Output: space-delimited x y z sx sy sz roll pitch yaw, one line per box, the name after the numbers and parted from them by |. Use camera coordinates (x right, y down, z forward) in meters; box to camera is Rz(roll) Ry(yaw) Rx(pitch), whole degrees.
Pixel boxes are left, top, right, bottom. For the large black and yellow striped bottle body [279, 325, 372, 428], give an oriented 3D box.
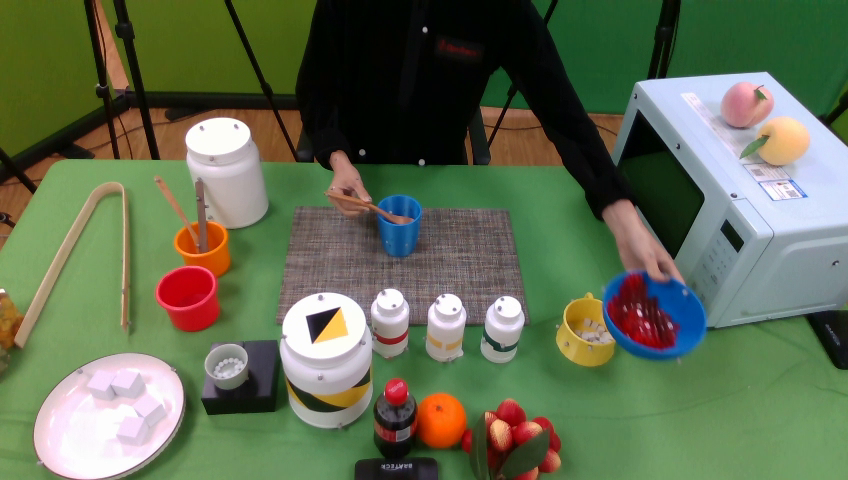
-0.143 0.181 0.900 0.131 0.185 0.130 2 46 -2 | large black and yellow striped bottle body

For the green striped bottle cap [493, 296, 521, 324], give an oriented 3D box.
0.133 0.111 0.962 0.044 0.020 0.044 2 47 -2 | green striped bottle cap

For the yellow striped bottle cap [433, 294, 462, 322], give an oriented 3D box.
0.037 0.107 0.958 0.044 0.019 0.044 2 45 -2 | yellow striped bottle cap

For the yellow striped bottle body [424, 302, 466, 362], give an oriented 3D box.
0.035 0.143 0.995 0.063 0.121 0.062 3 46 -3 | yellow striped bottle body

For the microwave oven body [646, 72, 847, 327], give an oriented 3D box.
0.607 -0.089 1.164 0.326 0.261 0.438 -7 46 -10 | microwave oven body

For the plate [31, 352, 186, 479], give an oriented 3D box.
-0.459 0.262 0.898 0.209 0.038 0.208 2 46 -2 | plate

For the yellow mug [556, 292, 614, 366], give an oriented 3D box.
0.284 0.145 1.051 0.100 0.064 0.130 8 46 3 | yellow mug

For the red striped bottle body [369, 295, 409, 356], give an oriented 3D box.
-0.059 0.134 0.997 0.063 0.120 0.062 5 48 -5 | red striped bottle body

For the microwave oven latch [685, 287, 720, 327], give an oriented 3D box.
0.494 0.119 1.087 0.030 0.029 0.078 -5 46 -9 | microwave oven latch

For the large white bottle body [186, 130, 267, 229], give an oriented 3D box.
-0.383 -0.127 1.175 0.131 0.185 0.130 2 47 -2 | large white bottle body

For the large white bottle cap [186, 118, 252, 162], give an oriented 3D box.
-0.377 -0.185 1.115 0.115 0.018 0.114 3 46 -3 | large white bottle cap

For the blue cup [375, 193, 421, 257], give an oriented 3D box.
-0.049 -0.022 1.156 0.093 0.101 0.092 1 47 -1 | blue cup

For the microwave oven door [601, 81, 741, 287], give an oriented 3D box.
0.455 -0.107 1.162 0.039 0.245 0.353 -6 47 -11 | microwave oven door

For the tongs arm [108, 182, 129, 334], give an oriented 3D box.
-0.571 0.019 1.123 0.051 0.026 0.382 -11 47 -12 | tongs arm

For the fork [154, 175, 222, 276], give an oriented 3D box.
-0.431 -0.027 1.101 0.028 0.018 0.207 -33 100 -25 | fork

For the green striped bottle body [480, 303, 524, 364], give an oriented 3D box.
0.129 0.147 1.000 0.063 0.120 0.063 2 46 -2 | green striped bottle body

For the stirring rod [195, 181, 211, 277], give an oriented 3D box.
-0.403 -0.020 1.104 0.014 0.006 0.176 -6 89 -8 | stirring rod

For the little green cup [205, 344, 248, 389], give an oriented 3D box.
-0.294 0.191 0.909 0.061 0.039 0.061 1 47 -1 | little green cup

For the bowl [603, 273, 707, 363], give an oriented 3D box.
0.344 0.133 0.930 0.151 0.077 0.150 0 48 0 | bowl

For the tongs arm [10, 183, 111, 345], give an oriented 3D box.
-0.658 0.027 1.109 0.028 0.028 0.385 -2 45 2 | tongs arm

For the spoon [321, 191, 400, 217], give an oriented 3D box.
-0.098 -0.057 1.098 0.195 0.021 0.041 23 23 -33 | spoon

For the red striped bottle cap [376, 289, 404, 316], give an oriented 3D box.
-0.055 0.098 0.958 0.044 0.018 0.044 0 47 0 | red striped bottle cap

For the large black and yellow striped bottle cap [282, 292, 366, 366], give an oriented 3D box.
-0.138 0.121 0.841 0.115 0.019 0.114 3 47 -3 | large black and yellow striped bottle cap
